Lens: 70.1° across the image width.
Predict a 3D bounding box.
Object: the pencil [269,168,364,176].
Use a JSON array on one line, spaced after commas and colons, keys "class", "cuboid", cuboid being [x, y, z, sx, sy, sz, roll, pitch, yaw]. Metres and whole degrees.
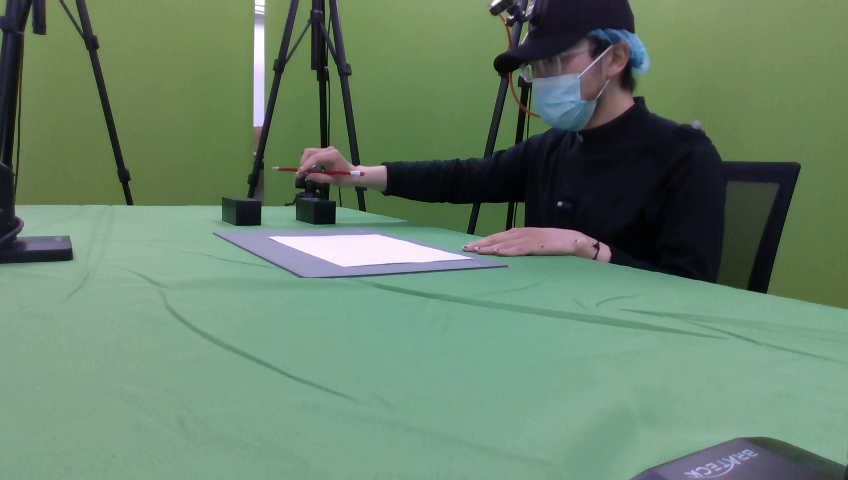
[{"class": "pencil", "cuboid": [-0.222, -0.143, 1.258, 0.195, 0.012, 0.012, 1, 8, -14]}]
